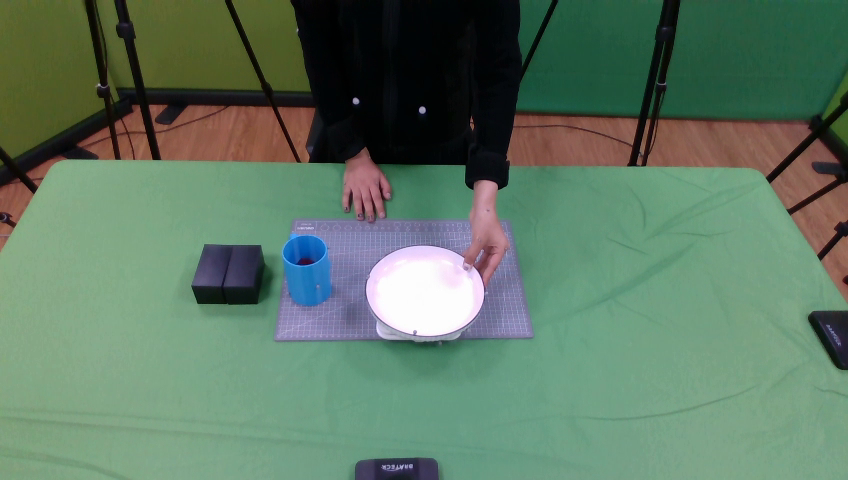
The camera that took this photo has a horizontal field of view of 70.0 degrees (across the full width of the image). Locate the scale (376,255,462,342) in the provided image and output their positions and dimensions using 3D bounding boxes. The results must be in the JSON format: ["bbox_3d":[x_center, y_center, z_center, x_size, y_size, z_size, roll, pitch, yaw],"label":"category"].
[{"bbox_3d":[-0.010,0.096,1.094,0.149,0.032,0.199,2,46,-3],"label":"scale"}]

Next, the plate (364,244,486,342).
[{"bbox_3d":[0.001,0.093,1.051,0.209,0.038,0.208,1,46,-1],"label":"plate"}]

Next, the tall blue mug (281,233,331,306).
[{"bbox_3d":[-0.219,0.046,1.073,0.107,0.108,0.077,28,52,21],"label":"tall blue mug"}]
